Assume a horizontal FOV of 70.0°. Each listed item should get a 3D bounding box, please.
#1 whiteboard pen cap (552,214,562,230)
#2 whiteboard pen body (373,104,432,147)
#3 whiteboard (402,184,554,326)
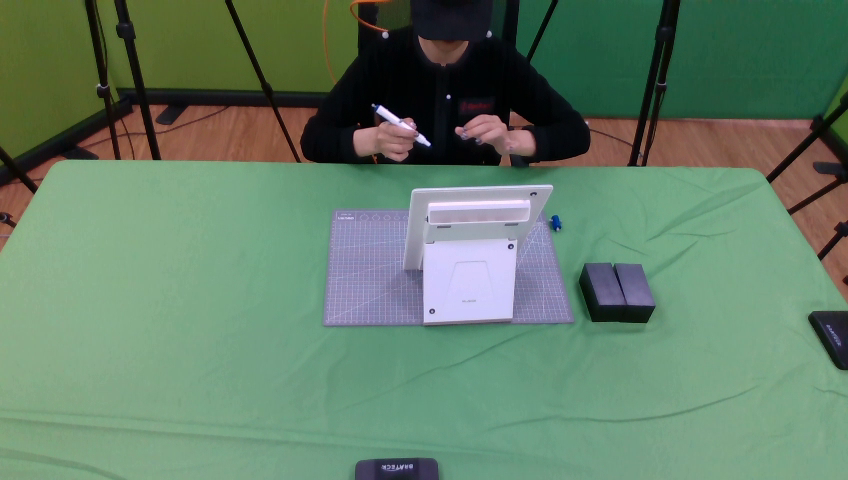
[{"bbox_3d":[0.276,-0.037,1.260,0.018,0.018,0.033,1,44,-2],"label":"whiteboard pen cap"},{"bbox_3d":[-0.041,-0.226,1.210,0.141,0.017,0.017,33,46,-15],"label":"whiteboard pen body"},{"bbox_3d":[0.081,0.044,1.005,0.217,0.306,0.143,-1,65,-6],"label":"whiteboard"}]
